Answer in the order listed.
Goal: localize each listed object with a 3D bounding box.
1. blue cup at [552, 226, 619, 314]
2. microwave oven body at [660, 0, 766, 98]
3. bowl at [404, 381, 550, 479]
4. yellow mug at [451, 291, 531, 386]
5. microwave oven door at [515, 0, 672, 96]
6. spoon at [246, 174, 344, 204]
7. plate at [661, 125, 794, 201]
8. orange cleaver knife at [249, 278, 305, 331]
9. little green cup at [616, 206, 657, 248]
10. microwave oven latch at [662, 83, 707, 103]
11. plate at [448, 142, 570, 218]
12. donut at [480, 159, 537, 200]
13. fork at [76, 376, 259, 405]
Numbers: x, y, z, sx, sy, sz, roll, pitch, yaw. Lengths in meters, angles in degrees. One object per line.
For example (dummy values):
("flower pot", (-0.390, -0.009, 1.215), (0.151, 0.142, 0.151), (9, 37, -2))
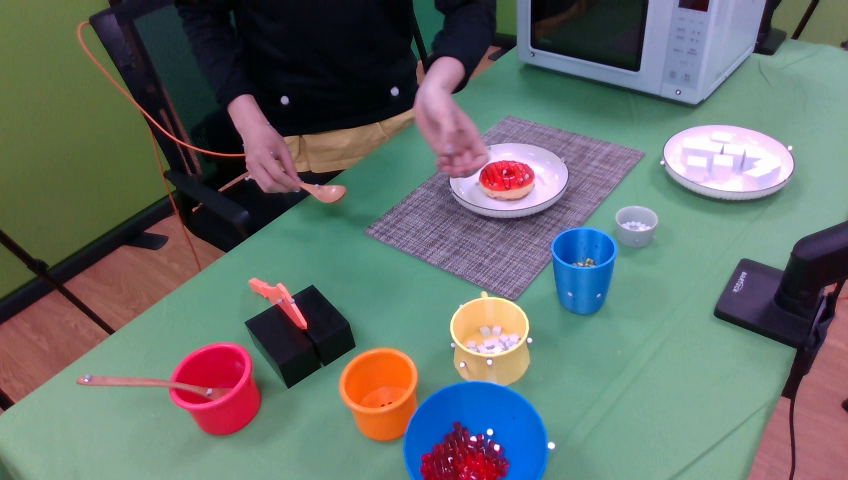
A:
("blue cup", (0.218, 0.047, 0.826), (0.092, 0.101, 0.092), (-6, 40, 5))
("microwave oven body", (0.473, -0.514, 1.317), (0.438, 0.261, 0.327), (26, 51, 34))
("bowl", (0.058, 0.235, 0.645), (0.151, 0.077, 0.150), (-4, 39, 4))
("yellow mug", (0.085, 0.120, 0.786), (0.100, 0.064, 0.130), (-7, 39, 1))
("microwave oven door", (0.344, -0.455, 1.259), (0.353, 0.245, 0.039), (26, 51, 33))
("spoon", (-0.220, -0.093, 1.020), (0.193, 0.022, 0.041), (15, 56, 18))
("plate", (0.513, -0.128, 1.035), (0.207, 0.039, 0.206), (-4, 40, 4))
("orange cleaver knife", (-0.210, 0.088, 0.856), (0.012, 0.077, 0.210), (-28, 14, -25))
("little green cup", (0.327, -0.019, 0.935), (0.061, 0.039, 0.061), (-4, 40, 4))
("microwave oven latch", (0.517, -0.296, 1.204), (0.078, 0.029, 0.030), (27, 52, 35))
("plate", (0.148, -0.101, 1.053), (0.209, 0.038, 0.208), (-4, 40, 4))
("donut", (0.145, -0.106, 1.042), (0.099, 0.048, 0.098), (-4, 37, 3))
("fork", (-0.295, 0.176, 0.716), (0.209, 0.018, 0.028), (19, 26, -36))
